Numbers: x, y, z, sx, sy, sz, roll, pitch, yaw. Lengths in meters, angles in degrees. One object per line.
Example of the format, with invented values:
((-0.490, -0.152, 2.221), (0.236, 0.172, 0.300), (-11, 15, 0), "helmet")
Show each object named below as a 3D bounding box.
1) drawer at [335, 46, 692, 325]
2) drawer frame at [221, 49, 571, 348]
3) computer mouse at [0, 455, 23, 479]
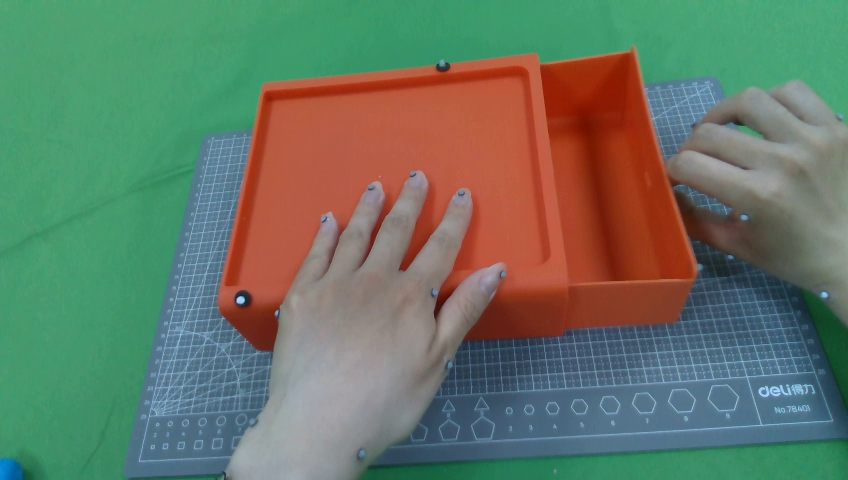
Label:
((0.055, -0.039, 0.424), (0.211, 0.074, 0.192), (-3, 58, 6), "drawer")
((-0.013, -0.031, 0.432), (0.213, 0.083, 0.200), (-5, 58, 7), "drawer frame")
((-0.282, 0.190, 0.366), (0.063, 0.041, 0.116), (-22, 53, -3), "computer mouse")
